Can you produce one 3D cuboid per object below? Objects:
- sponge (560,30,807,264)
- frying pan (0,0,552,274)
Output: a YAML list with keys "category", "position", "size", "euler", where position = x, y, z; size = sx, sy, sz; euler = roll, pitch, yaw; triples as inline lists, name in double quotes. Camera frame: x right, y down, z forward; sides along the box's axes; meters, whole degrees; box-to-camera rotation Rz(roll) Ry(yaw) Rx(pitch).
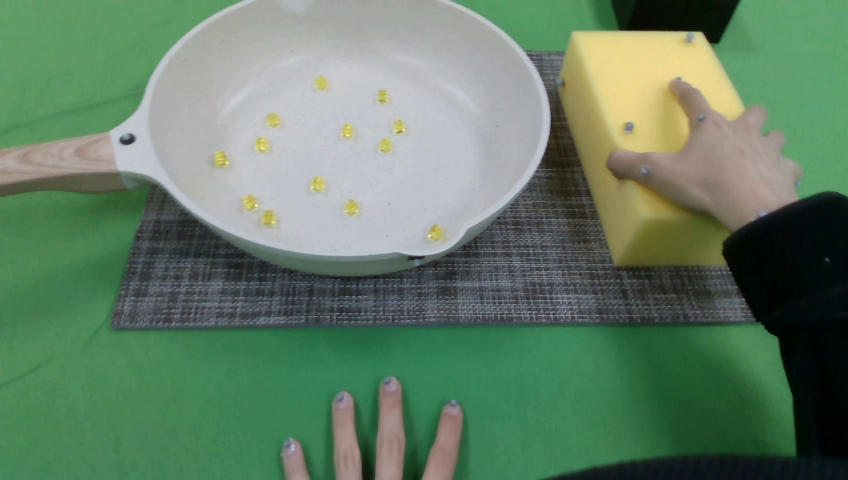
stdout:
- category: "sponge"
  position: [0.193, -0.082, 0.487]
  size: [0.118, 0.061, 0.204]
  euler: [-2, 54, -6]
- category: "frying pan"
  position: [-0.146, -0.070, 0.428]
  size: [0.489, 0.103, 0.303]
  euler: [-12, 55, -22]
